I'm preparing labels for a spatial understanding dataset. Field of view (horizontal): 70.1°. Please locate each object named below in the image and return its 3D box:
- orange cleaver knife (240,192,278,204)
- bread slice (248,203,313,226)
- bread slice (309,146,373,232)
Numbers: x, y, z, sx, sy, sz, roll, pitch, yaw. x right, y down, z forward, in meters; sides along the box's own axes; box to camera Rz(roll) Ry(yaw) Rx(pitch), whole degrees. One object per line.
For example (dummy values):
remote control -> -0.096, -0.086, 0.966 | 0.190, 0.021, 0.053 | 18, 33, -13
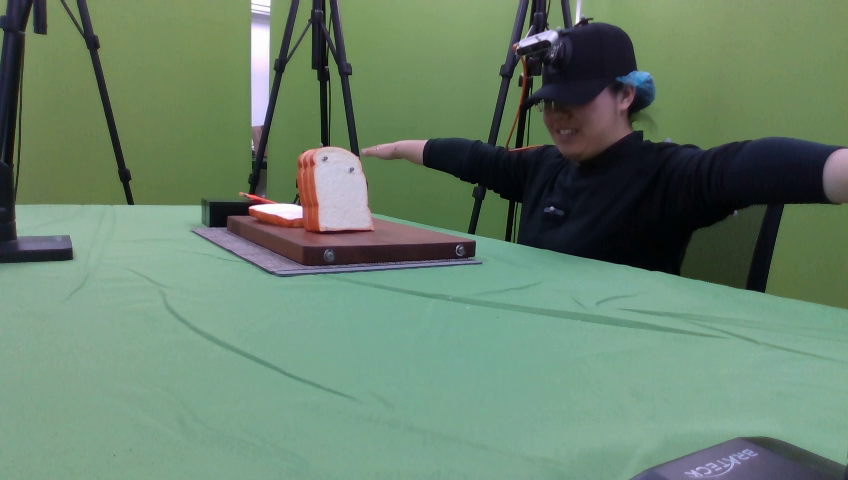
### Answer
orange cleaver knife -> -0.268, -0.064, 1.235 | 0.212, 0.012, 0.077 | 17, -2, -26
bread slice -> -0.228, -0.043, 1.022 | 0.131, 0.019, 0.105 | 13, 14, 37
bread slice -> -0.133, -0.077, 0.927 | 0.018, 0.134, 0.107 | -14, -5, 42
